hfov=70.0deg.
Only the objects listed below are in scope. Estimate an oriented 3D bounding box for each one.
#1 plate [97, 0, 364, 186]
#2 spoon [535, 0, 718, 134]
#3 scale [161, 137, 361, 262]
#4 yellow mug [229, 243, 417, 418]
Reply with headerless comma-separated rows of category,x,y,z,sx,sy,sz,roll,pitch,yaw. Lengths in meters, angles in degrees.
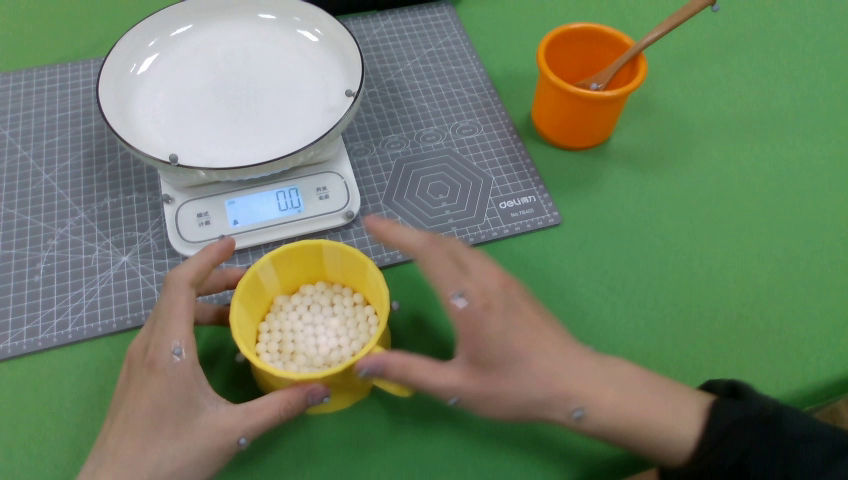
plate,-0.153,-0.123,0.499,0.209,0.038,0.207,2,57,-3
spoon,0.176,-0.154,0.508,0.022,0.194,0.041,13,47,-50
scale,-0.146,-0.082,0.512,0.149,0.032,0.199,-14,59,-11
yellow mug,-0.059,0.067,0.403,0.130,0.064,0.099,29,60,16
